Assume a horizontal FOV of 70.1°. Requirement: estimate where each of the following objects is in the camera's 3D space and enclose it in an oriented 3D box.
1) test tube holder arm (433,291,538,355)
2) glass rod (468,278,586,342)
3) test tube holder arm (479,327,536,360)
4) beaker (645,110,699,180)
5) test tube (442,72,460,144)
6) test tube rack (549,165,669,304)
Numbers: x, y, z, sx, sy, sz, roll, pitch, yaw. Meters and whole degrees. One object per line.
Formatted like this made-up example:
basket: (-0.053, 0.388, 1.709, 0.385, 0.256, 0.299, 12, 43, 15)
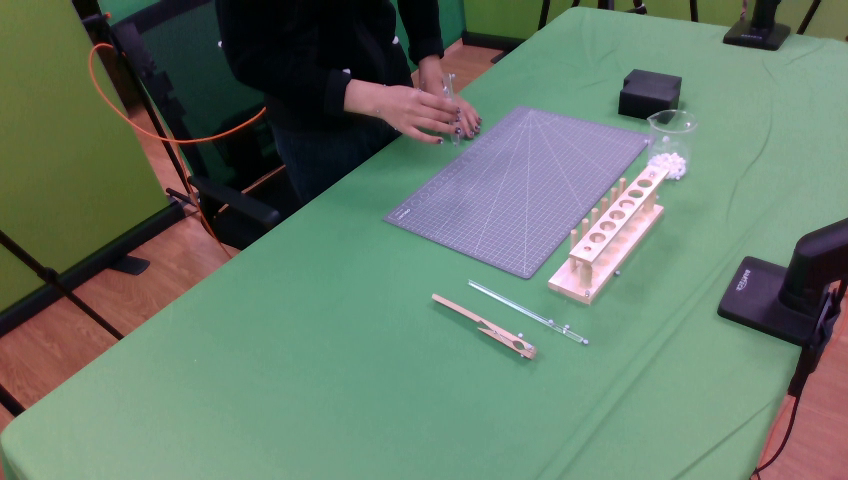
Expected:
test tube holder arm: (0.081, 0.112, 0.832, 0.177, 0.015, 0.013, 28, 82, 36)
glass rod: (0.140, 0.096, 0.853, 0.198, 0.008, 0.008, 27, 52, 35)
test tube holder arm: (0.110, 0.134, 0.805, 0.087, 0.015, 0.010, 29, 83, 36)
beaker: (0.417, -0.160, 1.032, 0.083, 0.101, 0.074, 25, 51, 35)
test tube: (0.047, -0.226, 1.053, 0.017, 0.151, 0.017, -5, 50, 7)
test tube rack: (0.279, -0.018, 0.902, 0.066, 0.085, 0.243, 24, 50, 33)
